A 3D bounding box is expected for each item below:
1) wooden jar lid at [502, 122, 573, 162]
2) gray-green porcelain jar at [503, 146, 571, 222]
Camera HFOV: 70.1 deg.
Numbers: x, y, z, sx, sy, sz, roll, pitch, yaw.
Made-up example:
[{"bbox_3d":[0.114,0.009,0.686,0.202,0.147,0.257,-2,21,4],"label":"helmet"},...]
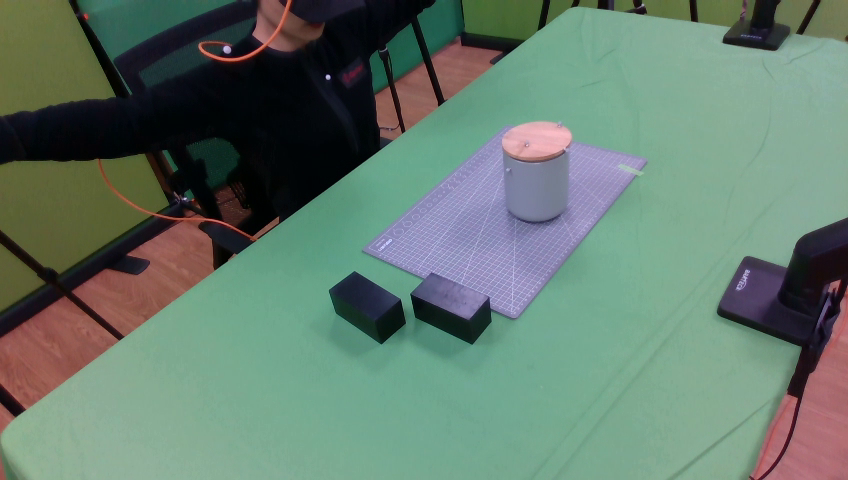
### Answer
[{"bbox_3d":[0.176,-0.150,0.940,0.108,0.021,0.108,-6,38,5],"label":"wooden jar lid"},{"bbox_3d":[0.184,-0.102,0.983,0.106,0.127,0.105,-5,40,5],"label":"gray-green porcelain jar"}]
